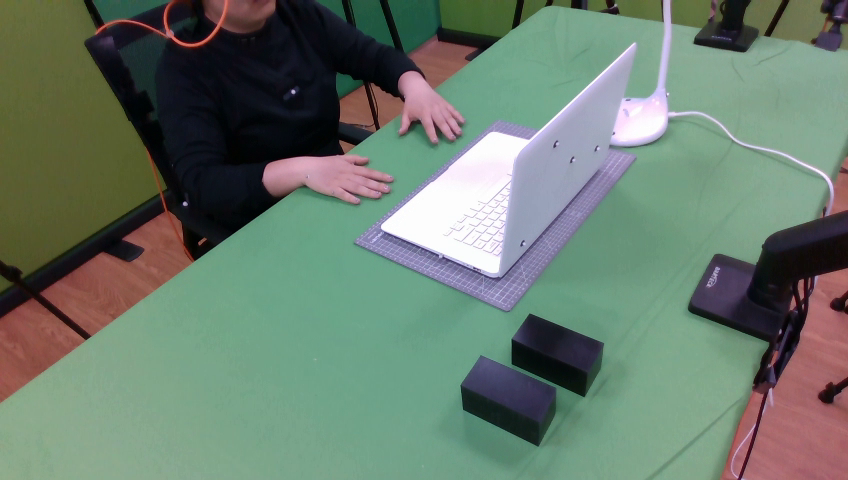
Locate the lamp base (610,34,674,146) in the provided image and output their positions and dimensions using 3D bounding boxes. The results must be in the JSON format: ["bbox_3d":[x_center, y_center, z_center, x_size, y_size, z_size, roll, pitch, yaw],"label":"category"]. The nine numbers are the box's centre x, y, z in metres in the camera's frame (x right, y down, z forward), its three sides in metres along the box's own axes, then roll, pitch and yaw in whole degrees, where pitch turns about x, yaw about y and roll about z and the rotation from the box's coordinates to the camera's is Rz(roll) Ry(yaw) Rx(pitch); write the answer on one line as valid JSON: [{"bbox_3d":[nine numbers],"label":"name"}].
[{"bbox_3d":[0.392,-0.291,1.129,0.180,0.181,0.159,-11,41,-8],"label":"lamp base"}]

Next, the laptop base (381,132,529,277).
[{"bbox_3d":[0.122,-0.077,1.043,0.233,0.023,0.355,20,47,33],"label":"laptop base"}]

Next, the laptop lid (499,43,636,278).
[{"bbox_3d":[0.217,-0.122,0.898,0.013,0.242,0.358,28,50,25],"label":"laptop lid"}]
